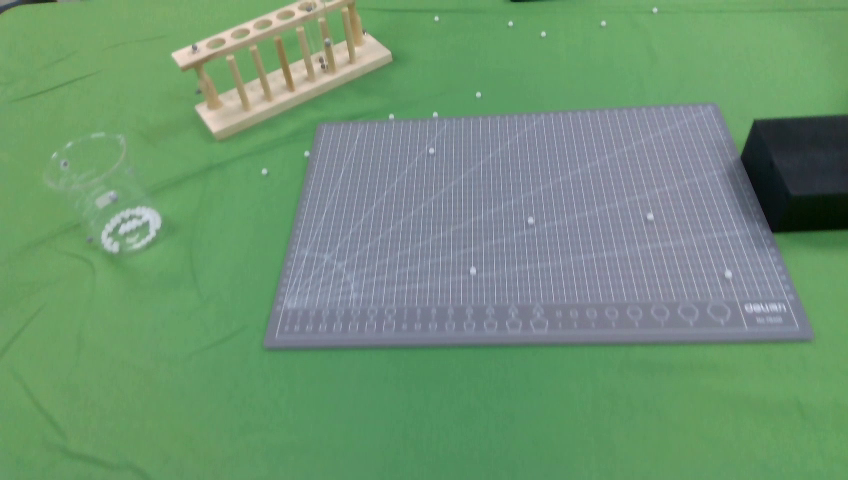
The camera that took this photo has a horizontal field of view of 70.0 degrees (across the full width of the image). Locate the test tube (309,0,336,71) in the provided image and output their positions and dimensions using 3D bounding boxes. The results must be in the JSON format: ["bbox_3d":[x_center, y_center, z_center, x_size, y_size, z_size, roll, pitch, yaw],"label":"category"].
[{"bbox_3d":[-0.122,-0.262,0.695,0.017,0.152,0.017,-2,49,3],"label":"test tube"}]

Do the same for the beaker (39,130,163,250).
[{"bbox_3d":[-0.304,-0.046,0.587,0.073,0.101,0.083,21,55,21],"label":"beaker"}]

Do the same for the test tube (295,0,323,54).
[{"bbox_3d":[-0.145,-0.287,0.712,0.017,0.152,0.017,-5,47,6],"label":"test tube"}]

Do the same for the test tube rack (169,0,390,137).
[{"bbox_3d":[-0.165,-0.223,0.726,0.242,0.086,0.066,-30,54,-17],"label":"test tube rack"}]
